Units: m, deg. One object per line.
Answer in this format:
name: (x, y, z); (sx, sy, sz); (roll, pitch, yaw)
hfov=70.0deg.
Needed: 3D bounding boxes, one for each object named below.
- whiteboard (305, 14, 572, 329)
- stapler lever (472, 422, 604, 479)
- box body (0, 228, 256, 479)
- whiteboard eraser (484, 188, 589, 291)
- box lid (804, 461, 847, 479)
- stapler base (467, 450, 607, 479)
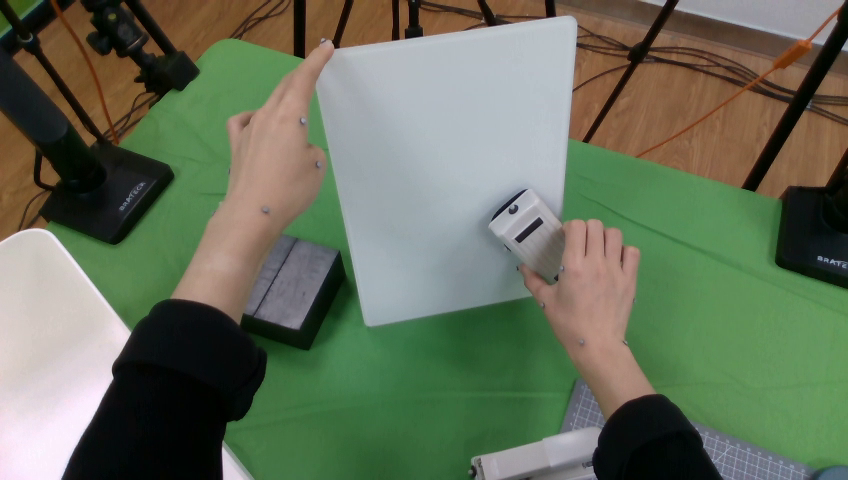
whiteboard: (0.015, -0.083, 0.621); (0.217, 0.308, 0.142); (-9, 39, -5)
stapler lever: (0.103, 0.191, 0.545); (0.118, 0.040, 0.026); (-11, 54, -3)
box body: (-0.306, 0.202, 0.489); (0.361, 0.162, 0.254); (39, 66, 22)
whiteboard eraser: (0.111, 0.000, 0.597); (0.055, 0.114, 0.041); (-46, 34, 6)
box lid: (0.413, 0.383, 0.461); (0.262, 0.015, 0.369); (20, 60, 11)
stapler base: (0.106, 0.204, 0.566); (0.130, 0.024, 0.041); (-11, 54, -3)
